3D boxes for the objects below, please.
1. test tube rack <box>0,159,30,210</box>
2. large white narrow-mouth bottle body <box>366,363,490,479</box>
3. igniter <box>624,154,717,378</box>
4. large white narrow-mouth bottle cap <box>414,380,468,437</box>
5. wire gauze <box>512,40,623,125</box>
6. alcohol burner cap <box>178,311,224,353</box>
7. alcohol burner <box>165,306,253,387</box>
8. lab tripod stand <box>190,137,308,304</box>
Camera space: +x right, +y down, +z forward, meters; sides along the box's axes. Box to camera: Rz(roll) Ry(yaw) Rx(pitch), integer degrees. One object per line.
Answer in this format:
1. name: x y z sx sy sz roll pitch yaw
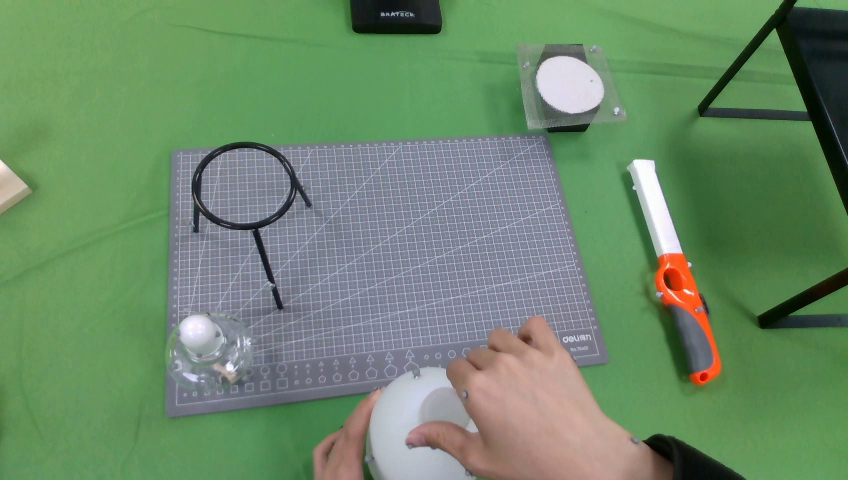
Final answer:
1. test tube rack: -0.517 -0.015 0.568 0.066 0.085 0.242 40 66 11
2. large white narrow-mouth bottle body: 0.003 0.158 0.506 0.102 0.196 0.101 3 64 -6
3. igniter: 0.283 0.022 0.702 0.057 0.025 0.274 0 66 -20
4. large white narrow-mouth bottle cap: 0.012 0.118 0.426 0.038 0.024 0.037 3 65 -6
5. wire gauze: 0.174 -0.196 0.743 0.122 0.011 0.124 -3 67 -9
6. alcohol burner cap: -0.191 0.077 0.516 0.034 0.048 0.033 3 71 -7
7. alcohol burner: -0.197 0.091 0.548 0.078 0.120 0.077 4 63 -8
8. lab tripod stand: -0.166 -0.024 0.595 0.149 0.132 0.147 4 65 -8
